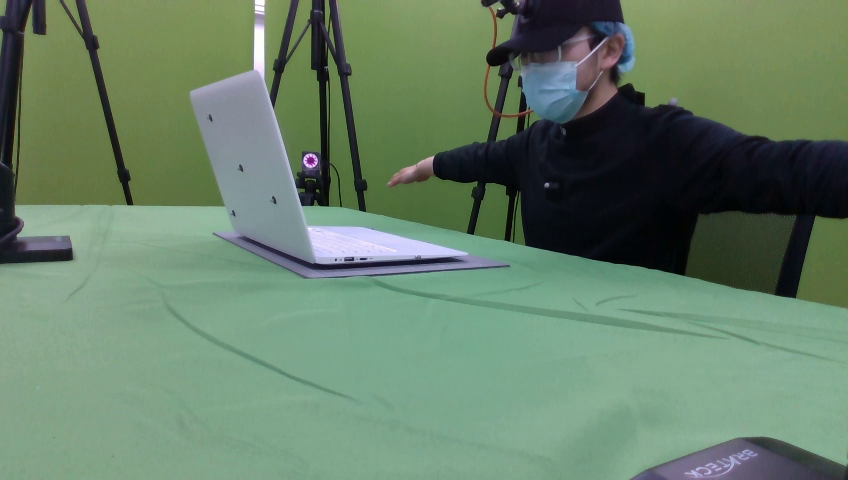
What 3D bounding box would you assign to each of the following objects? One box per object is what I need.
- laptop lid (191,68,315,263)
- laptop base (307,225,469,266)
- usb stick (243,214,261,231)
[{"bbox_3d":[-0.250,-0.102,0.838,0.013,0.242,0.355,-22,20,-29],"label":"laptop lid"},{"bbox_3d":[-0.125,0.006,0.936,0.237,0.023,0.352,1,7,-33],"label":"laptop base"},{"bbox_3d":[-0.298,-0.030,1.053,0.021,0.027,0.059,0,10,-31],"label":"usb stick"}]
